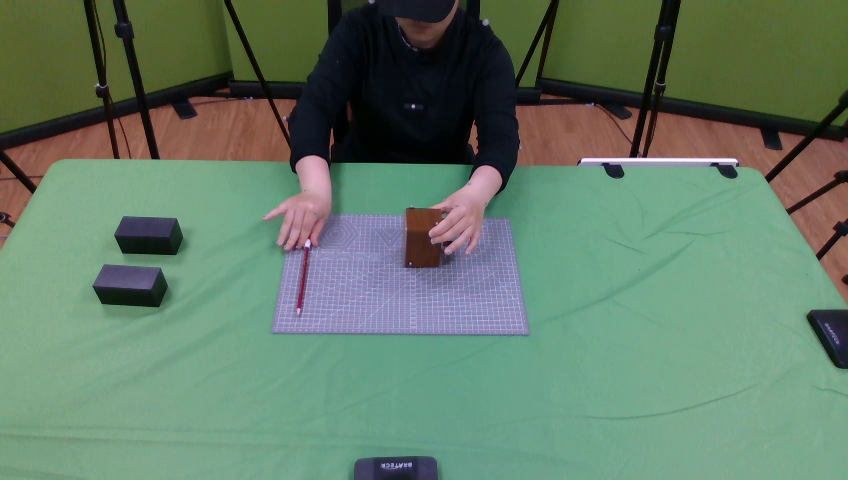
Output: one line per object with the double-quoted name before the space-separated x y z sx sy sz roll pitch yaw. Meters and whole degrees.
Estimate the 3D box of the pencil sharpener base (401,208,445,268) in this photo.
"pencil sharpener base" -0.003 -0.003 1.137 0.077 0.107 0.061 0 45 -5

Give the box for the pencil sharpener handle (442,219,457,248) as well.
"pencil sharpener handle" 0.049 -0.011 1.133 0.031 0.068 0.036 0 44 -5

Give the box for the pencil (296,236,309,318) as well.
"pencil" -0.226 0.065 1.120 0.012 0.012 0.193 0 47 -4
